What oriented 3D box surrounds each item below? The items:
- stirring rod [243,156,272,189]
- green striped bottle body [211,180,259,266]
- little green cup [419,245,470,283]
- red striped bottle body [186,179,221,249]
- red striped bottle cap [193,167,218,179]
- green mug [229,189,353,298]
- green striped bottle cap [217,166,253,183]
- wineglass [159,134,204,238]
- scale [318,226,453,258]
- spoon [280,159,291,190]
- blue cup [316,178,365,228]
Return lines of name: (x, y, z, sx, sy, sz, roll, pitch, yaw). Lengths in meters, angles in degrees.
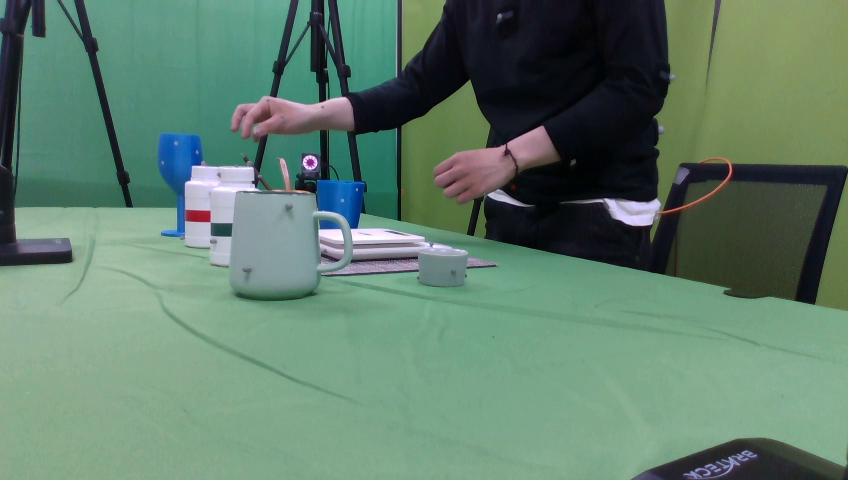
stirring rod: (-0.304, -0.099, 1.201, 0.006, 0.177, 0.014, -27, 38, 7)
green striped bottle body: (-0.243, -0.029, 0.784, 0.063, 0.119, 0.063, 2, 7, 0)
little green cup: (0.023, 0.028, 0.712, 0.061, 0.038, 0.061, 2, 6, 0)
red striped bottle body: (-0.331, -0.049, 0.927, 0.063, 0.119, 0.063, 2, 7, 0)
red striped bottle cap: (-0.329, -0.102, 0.921, 0.044, 0.017, 0.044, 1, 8, 0)
green mug: (-0.135, 0.002, 0.618, 0.125, 0.105, 0.092, 2, 7, 4)
green striped bottle cap: (-0.242, -0.085, 0.777, 0.044, 0.020, 0.044, 2, 9, 0)
wineglass: (-0.415, -0.093, 1.039, 0.074, 0.172, 0.073, 2, 7, 0)
scale: (-0.066, 0.001, 0.906, 0.202, 0.031, 0.148, -2, 8, -31)
spoon: (-0.280, -0.102, 1.251, 0.042, 0.193, 0.021, 6, -40, -29)
blue cup: (-0.149, -0.056, 1.072, 0.093, 0.100, 0.092, 3, 8, 0)
